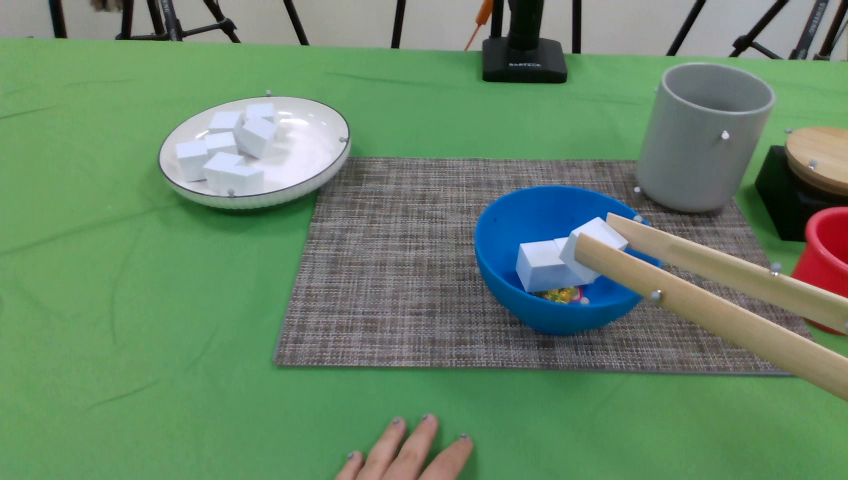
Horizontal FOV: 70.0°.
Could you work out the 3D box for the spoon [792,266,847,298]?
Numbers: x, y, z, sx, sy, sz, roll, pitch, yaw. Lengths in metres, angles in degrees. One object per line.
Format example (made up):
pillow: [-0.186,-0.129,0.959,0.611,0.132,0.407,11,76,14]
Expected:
spoon: [0.400,0.014,0.489,0.022,0.193,0.041,45,42,-19]

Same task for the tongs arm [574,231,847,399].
tongs arm: [0.246,0.076,0.323,0.028,0.028,0.384,-27,42,-37]

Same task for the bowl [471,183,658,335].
bowl: [0.113,0.027,0.515,0.151,0.077,0.150,0,42,0]

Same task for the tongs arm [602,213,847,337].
tongs arm: [0.264,0.066,0.336,0.381,0.027,0.051,25,42,34]

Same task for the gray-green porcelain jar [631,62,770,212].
gray-green porcelain jar: [0.276,-0.101,0.623,0.106,0.127,0.105,0,42,0]

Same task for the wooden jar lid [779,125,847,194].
wooden jar lid: [0.416,-0.080,0.612,0.108,0.021,0.107,0,42,1]

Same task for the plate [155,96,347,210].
plate: [-0.190,-0.097,0.684,0.209,0.038,0.207,0,42,1]
